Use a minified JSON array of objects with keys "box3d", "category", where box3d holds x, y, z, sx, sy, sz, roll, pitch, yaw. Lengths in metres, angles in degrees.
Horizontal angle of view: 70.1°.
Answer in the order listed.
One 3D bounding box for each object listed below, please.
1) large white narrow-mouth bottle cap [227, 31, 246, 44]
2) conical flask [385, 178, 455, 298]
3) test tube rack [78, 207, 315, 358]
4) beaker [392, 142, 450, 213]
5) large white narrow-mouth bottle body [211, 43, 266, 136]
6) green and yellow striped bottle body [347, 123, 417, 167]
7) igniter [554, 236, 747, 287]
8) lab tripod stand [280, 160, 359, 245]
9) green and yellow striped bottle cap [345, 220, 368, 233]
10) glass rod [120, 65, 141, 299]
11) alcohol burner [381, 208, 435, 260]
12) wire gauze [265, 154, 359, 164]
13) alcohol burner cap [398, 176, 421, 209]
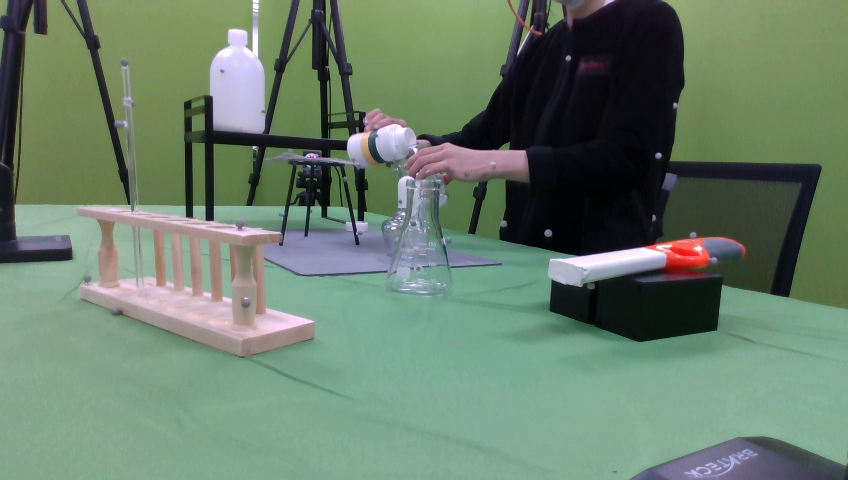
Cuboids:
[{"box3d":[-0.361,-0.388,1.166,0.038,0.024,0.037,1,7,0],"category":"large white narrow-mouth bottle cap"},{"box3d":[-0.002,-0.004,0.639,0.075,0.122,0.075,2,7,0],"category":"conical flask"},{"box3d":[-0.196,0.023,0.500,0.241,0.085,0.067,8,9,37],"category":"test tube rack"},{"box3d":[-0.001,-0.103,1.009,0.074,0.100,0.084,-7,-22,-32],"category":"beaker"},{"box3d":[-0.361,-0.302,1.176,0.102,0.194,0.102,1,7,0],"category":"large white narrow-mouth bottle body"},{"box3d":[-0.072,-0.169,1.072,0.119,0.063,0.063,-7,1,32],"category":"green and yellow striped bottle body"},{"box3d":[0.221,0.017,0.558,0.278,0.025,0.057,-5,15,-39],"category":"igniter"},{"box3d":[-0.176,-0.062,0.973,0.148,0.131,0.148,0,7,0],"category":"lab tripod stand"},{"box3d":[-0.130,-0.026,1.169,0.045,0.020,0.045,3,9,0],"category":"green and yellow striped bottle cap"},{"box3d":[-0.249,-0.047,0.513,0.008,0.199,0.008,-1,4,0],"category":"glass rod"},{"box3d":[-0.023,-0.032,0.871,0.078,0.119,0.078,0,6,0],"category":"alcohol burner"},{"box3d":[-0.181,-0.129,0.969,0.126,0.011,0.121,-1,7,-27],"category":"wire gauze"},{"box3d":[-0.023,-0.068,0.866,0.034,0.048,0.034,-5,8,1],"category":"alcohol burner cap"}]
